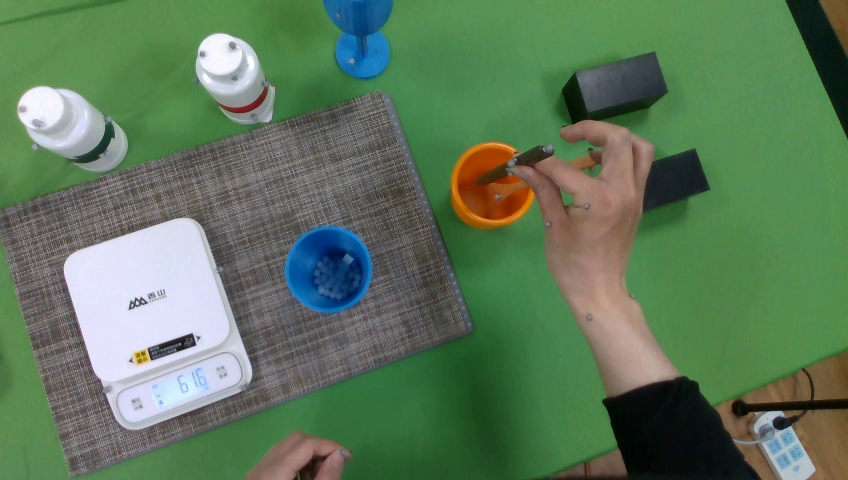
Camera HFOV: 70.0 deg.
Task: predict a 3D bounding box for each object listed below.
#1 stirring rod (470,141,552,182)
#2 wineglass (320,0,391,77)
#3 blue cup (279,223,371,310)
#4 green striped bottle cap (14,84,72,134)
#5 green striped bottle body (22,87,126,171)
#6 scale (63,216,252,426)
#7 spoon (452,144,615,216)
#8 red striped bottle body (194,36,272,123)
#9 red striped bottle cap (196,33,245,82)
[{"bbox_3d":[0.069,-0.065,0.520,0.014,0.176,0.006,14,85,-11],"label":"stirring rod"},{"bbox_3d":[-0.070,-0.237,0.637,0.074,0.172,0.073,1,82,-4],"label":"wineglass"},{"bbox_3d":[-0.096,0.032,0.636,0.093,0.100,0.092,0,83,-3],"label":"blue cup"},{"bbox_3d":[-0.359,-0.123,0.571,0.044,0.020,0.044,0,83,-3],"label":"green striped bottle cap"},{"bbox_3d":[-0.363,-0.115,0.626,0.063,0.119,0.063,1,83,-4],"label":"green striped bottle body"},{"bbox_3d":[-0.284,0.085,0.649,0.149,0.031,0.200,-20,86,-6],"label":"scale"},{"bbox_3d":[0.110,-0.064,0.644,0.022,0.193,0.041,-15,89,-50],"label":"spoon"},{"bbox_3d":[-0.203,-0.173,0.646,0.063,0.120,0.063,1,82,-5],"label":"red striped bottle body"},{"bbox_3d":[-0.199,-0.179,0.593,0.044,0.018,0.044,1,81,-3],"label":"red striped bottle cap"}]
